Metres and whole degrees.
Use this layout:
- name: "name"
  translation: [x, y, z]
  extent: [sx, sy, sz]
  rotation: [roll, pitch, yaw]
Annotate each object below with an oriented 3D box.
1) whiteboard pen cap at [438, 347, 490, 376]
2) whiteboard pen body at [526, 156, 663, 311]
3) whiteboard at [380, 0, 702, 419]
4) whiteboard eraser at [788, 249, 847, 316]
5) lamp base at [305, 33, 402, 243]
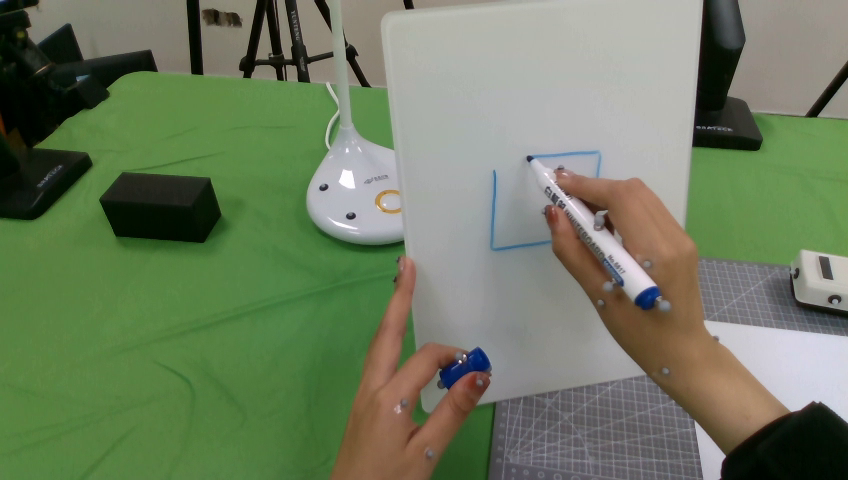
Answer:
- name: "whiteboard pen cap"
  translation: [0.027, 0.080, 0.400]
  extent: [0.033, 0.018, 0.018]
  rotation: [-2, 35, 36]
- name: "whiteboard pen body"
  translation: [0.099, -0.011, 0.376]
  extent: [0.017, 0.017, 0.139]
  rotation: [-16, 48, -16]
- name: "whiteboard"
  translation: [0.082, -0.037, 0.502]
  extent: [0.217, 0.307, 0.142]
  rotation: [-8, 22, -7]
- name: "whiteboard eraser"
  translation: [0.399, 0.046, 0.555]
  extent: [0.112, 0.042, 0.055]
  rotation: [11, 41, 13]
- name: "lamp base"
  translation: [-0.063, -0.116, 0.645]
  extent: [0.161, 0.182, 0.177]
  rotation: [-28, 46, -27]
